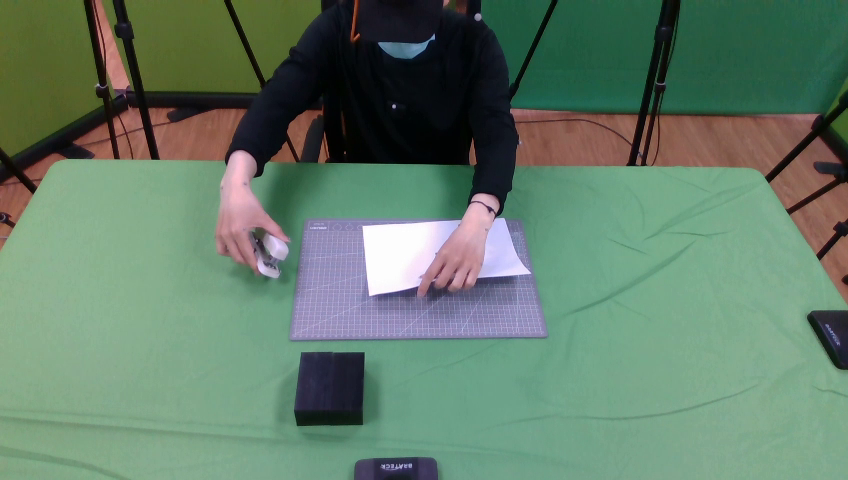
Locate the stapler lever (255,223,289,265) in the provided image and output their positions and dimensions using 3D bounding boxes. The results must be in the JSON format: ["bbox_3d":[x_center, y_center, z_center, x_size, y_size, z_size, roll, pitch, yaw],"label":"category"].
[{"bbox_3d":[-0.279,0.000,1.113,0.027,0.040,0.117,29,17,-42],"label":"stapler lever"}]

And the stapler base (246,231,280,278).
[{"bbox_3d":[-0.293,0.020,1.118,0.024,0.041,0.129,-50,43,12],"label":"stapler base"}]
